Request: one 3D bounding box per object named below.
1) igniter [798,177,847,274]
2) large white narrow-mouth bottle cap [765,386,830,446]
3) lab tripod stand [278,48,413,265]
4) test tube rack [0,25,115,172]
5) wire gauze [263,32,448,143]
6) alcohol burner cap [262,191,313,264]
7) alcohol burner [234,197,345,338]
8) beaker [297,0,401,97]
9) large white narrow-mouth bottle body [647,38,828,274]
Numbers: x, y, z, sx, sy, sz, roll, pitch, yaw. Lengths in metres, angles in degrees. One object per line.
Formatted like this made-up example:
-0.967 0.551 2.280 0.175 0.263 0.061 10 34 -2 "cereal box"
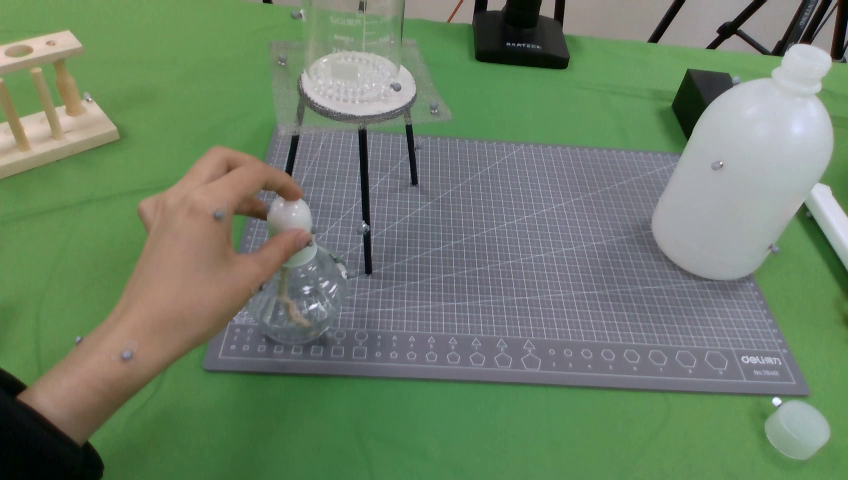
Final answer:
0.392 0.039 0.530 0.057 0.025 0.273 12 45 -11 "igniter"
0.266 0.126 0.433 0.038 0.024 0.037 4 45 -3 "large white narrow-mouth bottle cap"
-0.057 -0.074 0.499 0.148 0.132 0.147 5 46 -5 "lab tripod stand"
-0.407 -0.100 0.512 0.242 0.086 0.066 -29 56 -31 "test tube rack"
-0.055 -0.122 0.453 0.122 0.011 0.123 -8 51 -13 "wire gauze"
-0.090 -0.010 0.395 0.034 0.048 0.033 3 48 -3 "alcohol burner cap"
-0.094 0.014 0.422 0.078 0.120 0.077 5 44 -5 "alcohol burner"
-0.055 -0.158 0.420 0.084 0.101 0.073 -1 48 -9 "beaker"
0.261 -0.068 0.494 0.102 0.196 0.101 3 46 -3 "large white narrow-mouth bottle body"
